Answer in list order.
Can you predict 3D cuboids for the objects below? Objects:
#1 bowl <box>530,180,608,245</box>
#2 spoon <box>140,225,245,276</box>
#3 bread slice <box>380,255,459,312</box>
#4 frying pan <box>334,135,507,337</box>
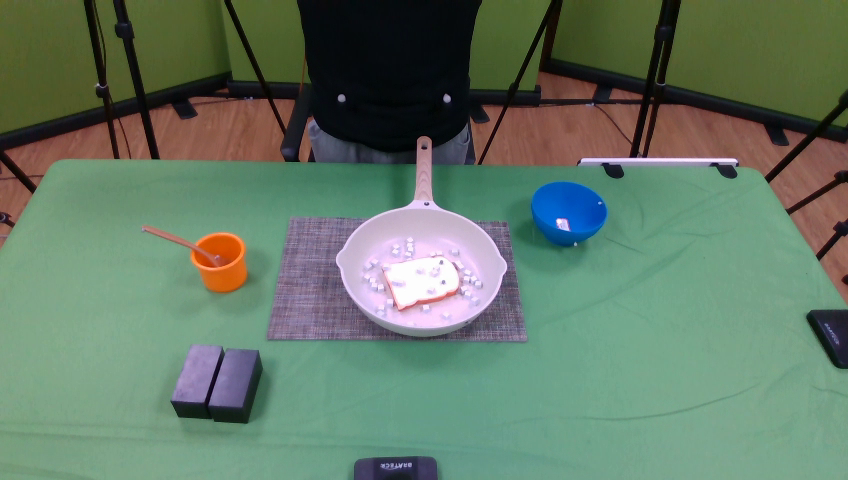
[{"bbox_3d":[0.284,-0.044,1.222,0.151,0.077,0.150,2,46,-2],"label":"bowl"},{"bbox_3d":[-0.402,0.017,1.062,0.021,0.195,0.041,-38,40,21],"label":"spoon"},{"bbox_3d":[-0.005,0.074,1.119,0.134,0.018,0.106,-16,50,-16],"label":"bread slice"},{"bbox_3d":[-0.004,-0.026,1.160,0.307,0.103,0.485,4,55,-2],"label":"frying pan"}]
